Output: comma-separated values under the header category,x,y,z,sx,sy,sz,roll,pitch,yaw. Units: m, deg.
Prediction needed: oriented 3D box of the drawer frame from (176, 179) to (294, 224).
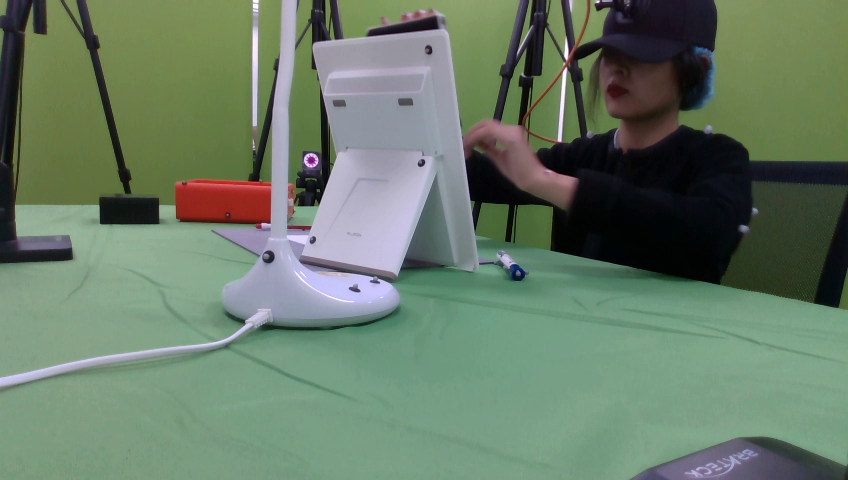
category,x,y,z,sx,sy,sz,roll,pitch,yaw
drawer frame,-0.395,-0.086,1.299,0.214,0.082,0.201,1,8,-9

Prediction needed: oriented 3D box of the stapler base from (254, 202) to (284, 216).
category,x,y,z,sx,sy,sz,roll,pitch,yaw
stapler base,-0.334,-0.068,1.307,0.041,0.024,0.130,6,6,-2

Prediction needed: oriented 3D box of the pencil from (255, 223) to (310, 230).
category,x,y,z,sx,sy,sz,roll,pitch,yaw
pencil,-0.216,-0.023,1.134,0.195,0.012,0.012,1,7,-21

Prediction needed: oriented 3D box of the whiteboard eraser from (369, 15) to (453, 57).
category,x,y,z,sx,sy,sz,roll,pitch,yaw
whiteboard eraser,-0.020,-0.260,0.801,0.112,0.055,0.042,0,18,27

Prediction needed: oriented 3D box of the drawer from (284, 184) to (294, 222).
category,x,y,z,sx,sy,sz,roll,pitch,yaw
drawer,-0.390,-0.084,1.301,0.212,0.073,0.194,1,8,-8

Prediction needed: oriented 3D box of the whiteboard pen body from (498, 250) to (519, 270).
category,x,y,z,sx,sy,sz,roll,pitch,yaw
whiteboard pen body,0.116,0.032,0.810,0.017,0.017,0.140,2,8,-2

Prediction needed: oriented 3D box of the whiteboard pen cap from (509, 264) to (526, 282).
category,x,y,z,sx,sy,sz,roll,pitch,yaw
whiteboard pen cap,0.116,0.039,0.752,0.018,0.018,0.033,2,11,-1

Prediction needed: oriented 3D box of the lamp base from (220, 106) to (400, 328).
category,x,y,z,sx,sy,sz,roll,pitch,yaw
lamp base,-0.101,-0.023,0.531,0.160,0.180,0.179,4,10,10

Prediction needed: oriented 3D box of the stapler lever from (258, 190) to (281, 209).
category,x,y,z,sx,sy,sz,roll,pitch,yaw
stapler lever,-0.333,-0.091,1.305,0.027,0.040,0.118,6,9,-2

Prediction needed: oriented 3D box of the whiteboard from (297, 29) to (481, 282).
category,x,y,z,sx,sy,sz,roll,pitch,yaw
whiteboard,-0.076,-0.082,0.741,0.216,0.305,0.144,9,29,37
